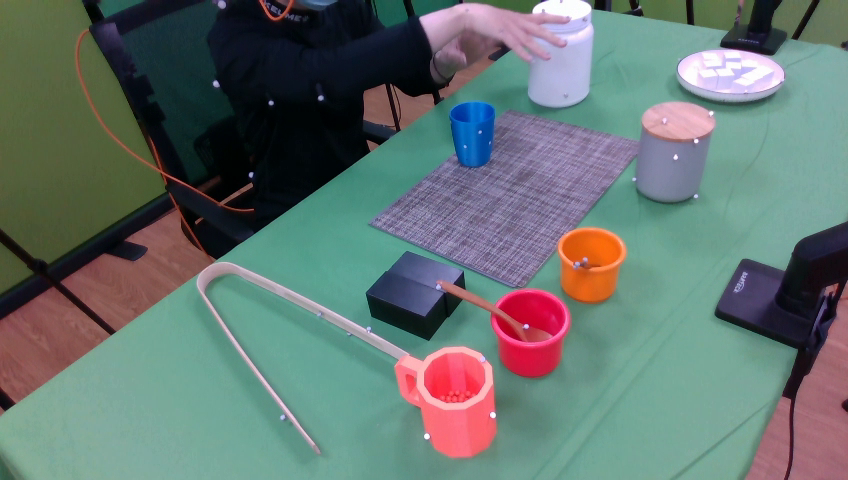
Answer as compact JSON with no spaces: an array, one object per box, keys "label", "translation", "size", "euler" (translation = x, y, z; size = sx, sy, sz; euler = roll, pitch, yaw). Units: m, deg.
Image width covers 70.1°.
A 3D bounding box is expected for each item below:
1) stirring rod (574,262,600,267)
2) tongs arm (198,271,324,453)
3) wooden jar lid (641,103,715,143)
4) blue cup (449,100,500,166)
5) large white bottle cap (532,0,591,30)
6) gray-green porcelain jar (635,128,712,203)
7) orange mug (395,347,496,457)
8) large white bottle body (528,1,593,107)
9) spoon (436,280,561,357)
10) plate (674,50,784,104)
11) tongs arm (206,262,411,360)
[{"label":"stirring rod","translation":[0.222,0.033,0.816],"size":[0.014,0.006,0.177],"euler":[7,1,22]},{"label":"tongs arm","translation":[-0.236,0.154,0.831],"size":[0.028,0.028,0.384],"euler":[-37,48,-18]},{"label":"wooden jar lid","translation":[0.398,-0.180,0.952],"size":[0.108,0.021,0.108],"euler":[-4,43,4]},{"label":"blue cup","translation":[0.092,-0.194,1.123],"size":[0.092,0.100,0.092],"euler":[-3,40,3]},{"label":"large white bottle cap","translation":[0.274,-0.450,1.204],"size":[0.115,0.018,0.114],"euler":[-4,41,4]},{"label":"gray-green porcelain jar","translation":[0.405,-0.133,0.992],"size":[0.106,0.127,0.105],"euler":[-4,40,4]},{"label":"orange mug","translation":[0.024,0.180,0.703],"size":[0.125,0.101,0.083],"euler":[21,48,23]},{"label":"large white bottle body","translation":[0.282,-0.386,1.259],"size":[0.130,0.185,0.130],"euler":[-5,41,4]},{"label":"spoon","translation":[0.096,0.095,0.757],"size":[0.195,0.021,0.041],"euler":[34,40,-20]},{"label":"plate","translation":[0.631,-0.336,1.262],"size":[0.207,0.039,0.206],"euler":[-4,41,4]},{"label":"tongs arm","translation":[-0.179,0.106,0.870],"size":[0.381,0.027,0.051],"euler":[23,55,32]}]
